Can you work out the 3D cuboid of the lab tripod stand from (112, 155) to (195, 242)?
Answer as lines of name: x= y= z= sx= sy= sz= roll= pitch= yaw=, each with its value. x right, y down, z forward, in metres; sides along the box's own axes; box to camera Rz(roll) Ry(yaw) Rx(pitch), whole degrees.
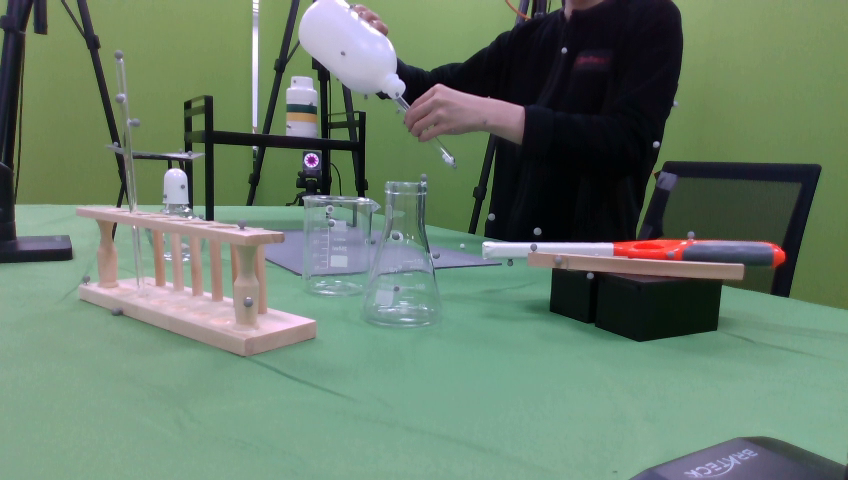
lab tripod stand: x=-0.405 y=-0.064 z=0.931 sx=0.148 sy=0.131 sz=0.148 roll=1 pitch=6 yaw=0

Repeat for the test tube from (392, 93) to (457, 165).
test tube: x=0.001 y=-0.172 z=0.934 sx=0.150 sy=0.017 sz=0.017 roll=50 pitch=25 yaw=14

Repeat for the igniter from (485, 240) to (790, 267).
igniter: x=0.197 y=0.012 z=0.585 sx=0.276 sy=0.025 sz=0.057 roll=1 pitch=5 yaw=12

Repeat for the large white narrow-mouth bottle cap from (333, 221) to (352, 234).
large white narrow-mouth bottle cap: x=-0.152 y=-0.024 z=1.134 sx=0.038 sy=0.024 sz=0.037 roll=4 pitch=7 yaw=0

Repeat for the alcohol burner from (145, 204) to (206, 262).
alcohol burner: x=-0.322 y=-0.032 z=0.788 sx=0.078 sy=0.119 sz=0.078 roll=0 pitch=7 yaw=0

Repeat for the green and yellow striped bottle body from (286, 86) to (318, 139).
green and yellow striped bottle body: x=-0.251 y=-0.270 z=1.245 sx=0.063 sy=0.119 sz=0.063 roll=2 pitch=7 yaw=0

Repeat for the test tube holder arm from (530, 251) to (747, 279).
test tube holder arm: x=0.182 y=0.022 z=0.523 sx=0.178 sy=0.015 sz=0.013 roll=3 pitch=7 yaw=12

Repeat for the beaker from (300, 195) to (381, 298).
beaker: x=-0.087 y=0.006 z=0.626 sx=0.084 sy=0.100 sz=0.074 roll=1 pitch=8 yaw=-17

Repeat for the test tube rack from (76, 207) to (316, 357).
test tube rack: x=-0.196 y=0.023 z=0.500 sx=0.241 sy=0.085 sz=0.067 roll=8 pitch=9 yaw=36

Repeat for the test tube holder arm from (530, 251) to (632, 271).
test tube holder arm: x=0.139 y=0.019 z=0.538 sx=0.087 sy=0.015 sz=0.010 roll=3 pitch=7 yaw=13

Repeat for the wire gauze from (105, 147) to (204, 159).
wire gauze: x=-0.407 y=-0.131 z=0.929 sx=0.125 sy=0.011 sz=0.121 roll=2 pitch=6 yaw=-11

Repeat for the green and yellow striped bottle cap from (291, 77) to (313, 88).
green and yellow striped bottle cap: x=-0.250 y=-0.321 z=1.238 sx=0.045 sy=0.020 sz=0.045 roll=4 pitch=6 yaw=0

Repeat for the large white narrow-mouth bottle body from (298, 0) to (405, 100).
large white narrow-mouth bottle body: x=-0.106 y=-0.297 z=0.975 sx=0.194 sy=0.101 sz=0.102 roll=44 pitch=21 yaw=13

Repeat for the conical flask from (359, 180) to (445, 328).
conical flask: x=-0.017 y=0.010 z=0.522 sx=0.075 sy=0.122 sz=0.075 roll=2 pitch=7 yaw=0

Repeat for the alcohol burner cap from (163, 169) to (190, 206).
alcohol burner cap: x=-0.321 y=-0.068 z=0.782 sx=0.034 sy=0.048 sz=0.034 roll=1 pitch=7 yaw=0

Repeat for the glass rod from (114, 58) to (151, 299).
glass rod: x=-0.236 y=-0.044 z=0.492 sx=0.008 sy=0.199 sz=0.008 roll=0 pitch=15 yaw=0
